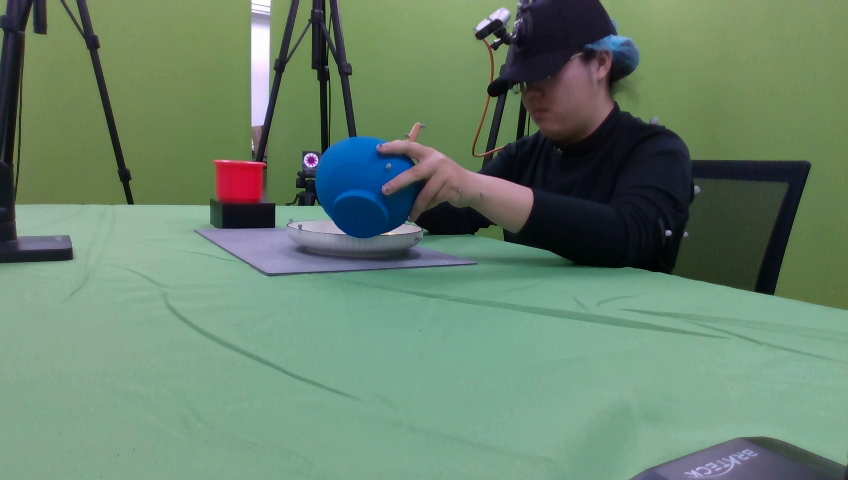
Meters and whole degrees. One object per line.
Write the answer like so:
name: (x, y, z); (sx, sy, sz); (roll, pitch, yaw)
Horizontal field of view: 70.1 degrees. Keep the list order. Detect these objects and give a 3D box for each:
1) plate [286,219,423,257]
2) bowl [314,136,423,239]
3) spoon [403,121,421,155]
plate: (-0.105, -0.003, 0.922); (0.208, 0.039, 0.207); (3, 7, 0)
bowl: (-0.080, -0.054, 0.804); (0.151, 0.151, 0.077); (3, 43, 6)
spoon: (-0.043, -0.104, 0.906); (0.041, 0.193, 0.022); (8, -33, 28)
